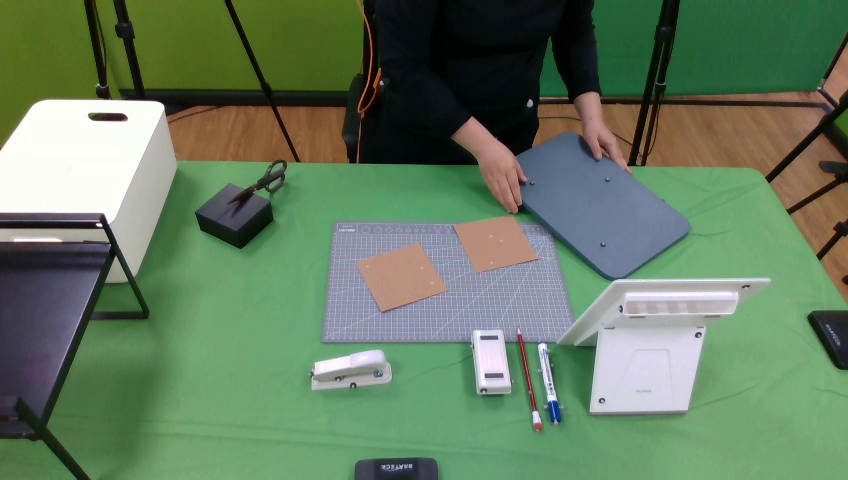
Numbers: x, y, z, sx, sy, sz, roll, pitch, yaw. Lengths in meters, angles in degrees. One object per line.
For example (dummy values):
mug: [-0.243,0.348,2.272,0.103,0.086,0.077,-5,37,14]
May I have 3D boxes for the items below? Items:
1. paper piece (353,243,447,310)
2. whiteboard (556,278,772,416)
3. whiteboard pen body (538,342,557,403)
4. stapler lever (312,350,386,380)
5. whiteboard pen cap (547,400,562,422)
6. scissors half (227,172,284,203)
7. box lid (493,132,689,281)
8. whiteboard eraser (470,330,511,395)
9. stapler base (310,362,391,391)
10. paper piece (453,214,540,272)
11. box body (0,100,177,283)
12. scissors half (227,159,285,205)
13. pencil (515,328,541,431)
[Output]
paper piece: [-0.045,0.066,1.137,0.136,0.009,0.137,-14,47,-22]
whiteboard: [0.347,0.174,0.903,0.217,0.306,0.143,1,65,-4]
whiteboard pen body: [0.205,0.228,0.997,0.017,0.017,0.140,1,46,-3]
stapler lever: [-0.120,0.198,0.963,0.118,0.040,0.026,-4,44,-8]
whiteboard pen cap: [0.205,0.269,0.956,0.018,0.018,0.033,0,47,-5]
scissors half: [-0.340,-0.101,1.230,0.013,0.040,0.175,22,28,17]
box lid: [0.354,-0.085,1.292,0.263,0.015,0.369,-29,60,-26]
whiteboard eraser: [0.109,0.202,0.998,0.055,0.042,0.112,1,46,-5]
stapler base: [-0.119,0.215,0.980,0.131,0.024,0.041,-5,44,-7]
paper piece: [0.142,0.003,1.213,0.135,0.004,0.135,-11,47,-14]
box body: [-0.639,-0.095,1.140,0.254,0.161,0.361,1,46,-4]
scissors half: [-0.336,-0.117,1.218,0.013,0.040,0.175,26,47,13]
pencil: [0.169,0.224,1.002,0.012,0.012,0.192,-2,46,-6]
